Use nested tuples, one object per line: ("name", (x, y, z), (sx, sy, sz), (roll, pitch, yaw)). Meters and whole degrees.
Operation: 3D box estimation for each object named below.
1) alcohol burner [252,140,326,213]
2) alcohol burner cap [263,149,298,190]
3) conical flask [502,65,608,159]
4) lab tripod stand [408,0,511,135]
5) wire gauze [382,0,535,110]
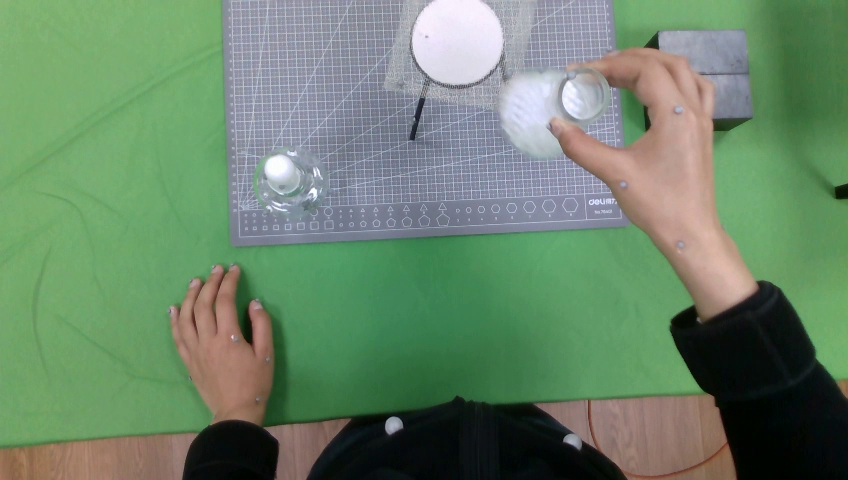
("alcohol burner", (-0.142, -0.067, 0.621), (0.078, 0.119, 0.078), (0, 87, -2))
("alcohol burner cap", (-0.141, -0.070, 0.585), (0.034, 0.048, 0.033), (1, 81, -6))
("conical flask", (0.104, -0.102, 0.461), (0.075, 0.121, 0.075), (0, 95, -1))
("lab tripod stand", (0.026, -0.185, 0.629), (0.148, 0.131, 0.148), (0, 85, 0))
("wire gauze", (0.034, -0.190, 0.562), (0.121, 0.011, 0.125), (14, 85, -1))
